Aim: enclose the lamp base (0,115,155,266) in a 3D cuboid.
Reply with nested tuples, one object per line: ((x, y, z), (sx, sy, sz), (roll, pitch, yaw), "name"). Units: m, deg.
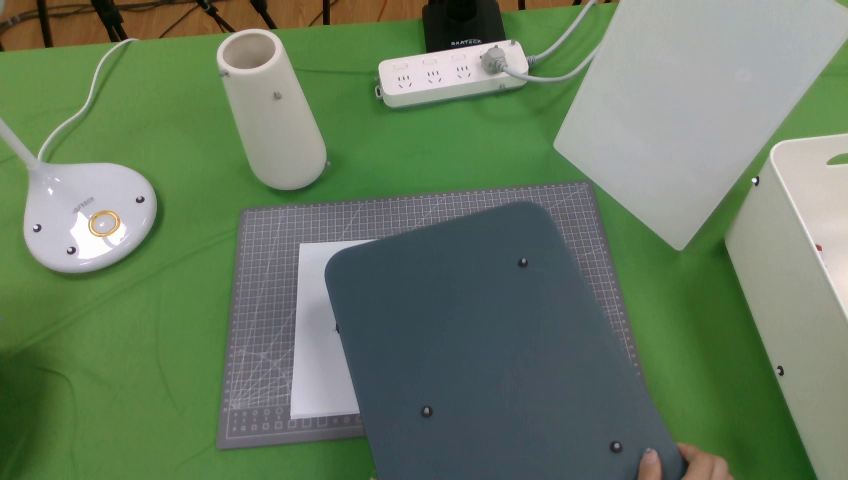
((-0.432, -0.082, 0.696), (0.178, 0.182, 0.160), (24, 63, 18), "lamp base")

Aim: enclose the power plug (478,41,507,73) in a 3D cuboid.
((0.093, -0.241, 0.832), (0.035, 0.053, 0.072), (-1, 61, 2), "power plug")

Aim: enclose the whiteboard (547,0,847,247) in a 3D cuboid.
((0.318, -0.184, 0.696), (0.144, 0.307, 0.215), (-24, 59, -34), "whiteboard")

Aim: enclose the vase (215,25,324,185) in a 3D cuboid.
((-0.183, -0.153, 0.720), (0.098, 0.202, 0.097), (-1, 59, 3), "vase")

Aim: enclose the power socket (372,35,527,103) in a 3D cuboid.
((0.038, -0.244, 0.862), (0.227, 0.033, 0.071), (-10, 60, -4), "power socket")

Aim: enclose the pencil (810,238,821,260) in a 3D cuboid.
((0.434, 0.082, 0.666), (0.012, 0.012, 0.192), (11, 63, 9), "pencil")

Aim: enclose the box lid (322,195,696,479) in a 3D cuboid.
((0.064, 0.122, 0.586), (0.264, 0.015, 0.367), (-16, 59, -10), "box lid")

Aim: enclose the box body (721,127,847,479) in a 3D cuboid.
((0.480, 0.077, 0.585), (0.254, 0.162, 0.360), (-6, 60, -2), "box body")
